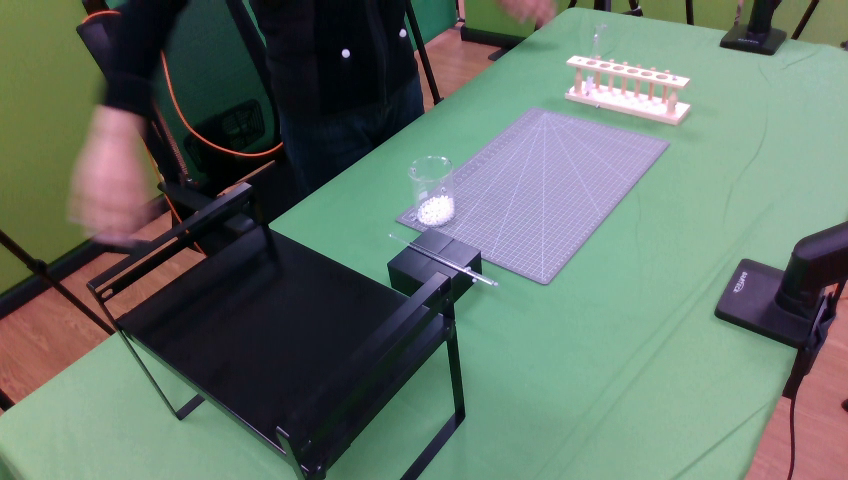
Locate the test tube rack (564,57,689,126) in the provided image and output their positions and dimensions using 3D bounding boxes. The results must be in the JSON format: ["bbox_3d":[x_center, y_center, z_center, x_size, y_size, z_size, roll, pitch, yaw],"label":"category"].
[{"bbox_3d":[0.411,-0.311,1.230,0.240,0.085,0.067,23,49,32],"label":"test tube rack"}]

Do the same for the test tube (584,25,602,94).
[{"bbox_3d":[0.341,-0.362,1.224,0.017,0.151,0.017,-2,47,3],"label":"test tube"}]

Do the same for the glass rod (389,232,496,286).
[{"bbox_3d":[0.022,0.026,0.878,0.198,0.008,0.008,25,50,33],"label":"glass rod"}]

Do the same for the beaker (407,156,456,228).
[{"bbox_3d":[0.016,-0.079,1.002,0.073,0.101,0.084,25,49,33],"label":"beaker"}]
